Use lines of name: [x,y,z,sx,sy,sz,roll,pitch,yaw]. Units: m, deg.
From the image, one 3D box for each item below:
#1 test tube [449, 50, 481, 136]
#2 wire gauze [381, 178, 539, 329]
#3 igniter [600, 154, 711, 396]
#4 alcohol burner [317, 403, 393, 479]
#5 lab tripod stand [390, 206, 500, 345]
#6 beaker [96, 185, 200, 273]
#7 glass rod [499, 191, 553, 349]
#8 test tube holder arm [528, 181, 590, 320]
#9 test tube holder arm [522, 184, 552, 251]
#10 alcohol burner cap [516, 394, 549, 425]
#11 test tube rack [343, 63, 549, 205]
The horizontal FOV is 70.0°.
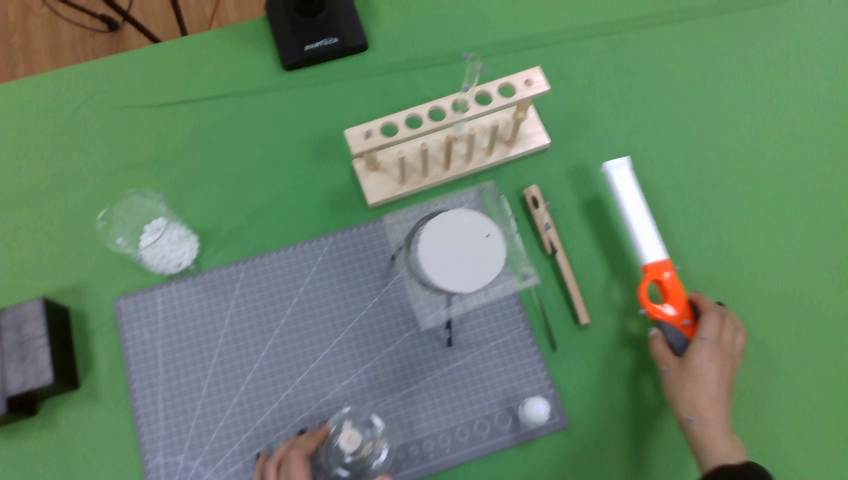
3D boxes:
test tube: [0.045,-0.163,0.691,0.017,0.151,0.017,2,68,-5]
wire gauze: [0.032,0.008,0.585,0.121,0.011,0.124,-19,71,-5]
igniter: [0.256,0.033,0.672,0.057,0.025,0.275,-14,75,-6]
alcohol burner: [-0.071,0.199,0.601,0.078,0.120,0.077,-1,69,2]
lab tripod stand: [0.022,0.029,0.649,0.148,0.132,0.147,-1,72,2]
beaker: [-0.306,-0.008,0.684,0.084,0.101,0.073,0,70,1]
glass rod: [0.120,0.033,0.717,0.008,0.008,0.198,-14,75,-5]
test tube holder arm: [0.159,0.011,0.717,0.013,0.015,0.177,-28,71,26]
test tube holder arm: [0.140,-0.027,0.733,0.010,0.015,0.087,-28,71,26]
alcohol burner cap: [0.117,0.179,0.645,0.034,0.048,0.033,0,70,0]
test tube rack: [0.033,-0.126,0.731,0.242,0.086,0.066,-20,71,-6]
